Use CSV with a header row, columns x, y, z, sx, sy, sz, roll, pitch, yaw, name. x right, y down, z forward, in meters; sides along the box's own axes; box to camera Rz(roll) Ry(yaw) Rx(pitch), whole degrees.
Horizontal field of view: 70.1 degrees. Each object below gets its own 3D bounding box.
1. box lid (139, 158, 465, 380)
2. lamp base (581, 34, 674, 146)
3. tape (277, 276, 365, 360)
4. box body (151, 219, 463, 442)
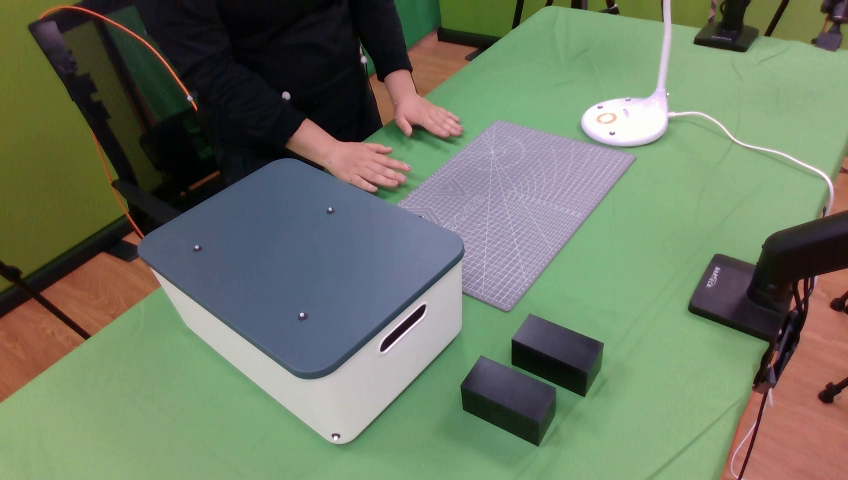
x,y,z,sx,sy,sz,roll,pitch,yaw,name
-0.158,0.010,0.757,0.368,0.015,0.264,26,50,33,box lid
0.392,-0.291,1.129,0.180,0.181,0.159,-11,41,-8,lamp base
-0.140,0.106,0.832,0.117,0.053,0.116,-4,41,4,tape
-0.152,0.064,0.807,0.361,0.161,0.255,26,51,33,box body
